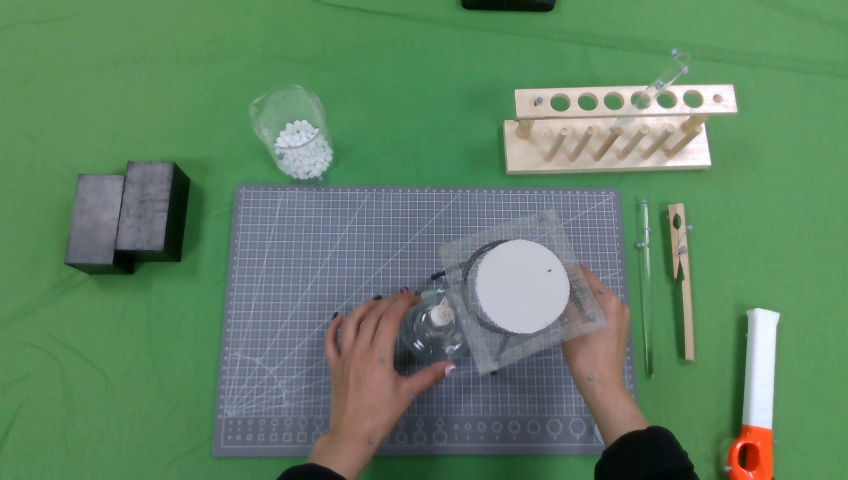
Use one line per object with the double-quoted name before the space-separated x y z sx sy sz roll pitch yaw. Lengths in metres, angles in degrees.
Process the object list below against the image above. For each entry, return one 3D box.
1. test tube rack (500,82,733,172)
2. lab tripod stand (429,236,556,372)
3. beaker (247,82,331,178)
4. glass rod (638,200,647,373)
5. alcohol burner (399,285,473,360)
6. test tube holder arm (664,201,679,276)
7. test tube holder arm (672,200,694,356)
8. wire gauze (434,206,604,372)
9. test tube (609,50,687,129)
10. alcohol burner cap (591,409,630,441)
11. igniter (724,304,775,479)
"test tube rack" 0.216 -0.128 0.695 0.242 0.085 0.066 -2 75 -3
"lab tripod stand" 0.070 0.056 0.613 0.148 0.132 0.147 0 76 0
"beaker" -0.146 -0.117 0.671 0.084 0.101 0.073 18 75 4
"glass rod" 0.250 0.050 0.690 0.008 0.008 0.199 3 79 -2
"alcohol burner" 0.012 0.081 0.615 0.078 0.120 0.077 0 73 0
"test tube holder arm" 0.288 -0.002 0.700 0.010 0.015 0.087 -9 74 31
"test tube holder arm" 0.293 0.041 0.686 0.013 0.015 0.177 -9 73 31
"wire gauze" 0.084 0.041 0.549 0.121 0.011 0.124 -19 76 -5
"test tube" 0.236 -0.157 0.652 0.017 0.150 0.017 2 74 -7
"alcohol burner cap" 0.197 0.193 0.630 0.034 0.048 0.033 1 75 -2
"igniter" 0.348 0.205 0.644 0.057 0.025 0.275 14 75 -9
